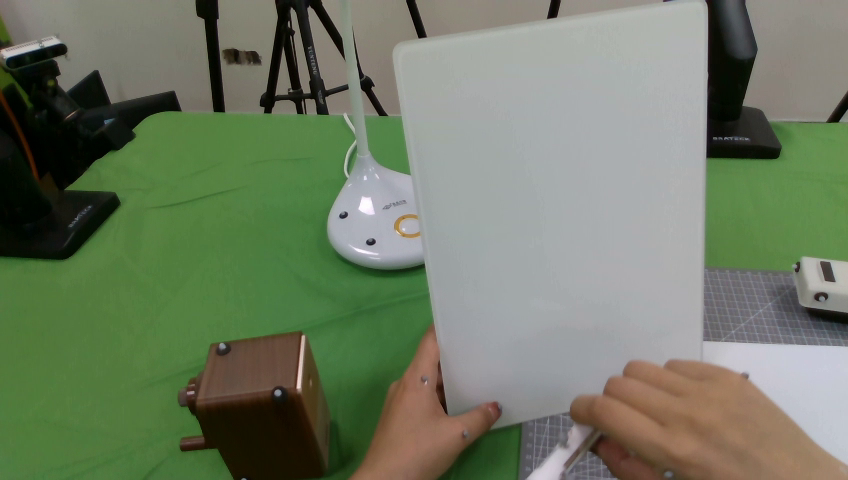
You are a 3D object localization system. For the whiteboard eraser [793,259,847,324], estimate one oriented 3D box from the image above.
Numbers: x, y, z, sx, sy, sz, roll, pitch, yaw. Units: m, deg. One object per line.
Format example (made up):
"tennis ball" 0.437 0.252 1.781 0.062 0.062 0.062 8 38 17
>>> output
"whiteboard eraser" 0.398 0.051 0.544 0.112 0.042 0.055 9 41 17

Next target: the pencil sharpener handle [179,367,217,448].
"pencil sharpener handle" -0.170 0.126 0.443 0.030 0.068 0.035 -7 26 -1

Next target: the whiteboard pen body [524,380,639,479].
"whiteboard pen body" 0.102 0.121 0.376 0.017 0.017 0.141 27 36 34

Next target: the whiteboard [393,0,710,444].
"whiteboard" 0.097 -0.021 0.505 0.217 0.307 0.143 -10 20 -5

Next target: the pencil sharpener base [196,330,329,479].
"pencil sharpener base" -0.118 0.127 0.456 0.077 0.108 0.060 -7 39 -1

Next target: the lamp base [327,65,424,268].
"lamp base" -0.045 -0.087 0.657 0.161 0.182 0.177 -28 42 -26
